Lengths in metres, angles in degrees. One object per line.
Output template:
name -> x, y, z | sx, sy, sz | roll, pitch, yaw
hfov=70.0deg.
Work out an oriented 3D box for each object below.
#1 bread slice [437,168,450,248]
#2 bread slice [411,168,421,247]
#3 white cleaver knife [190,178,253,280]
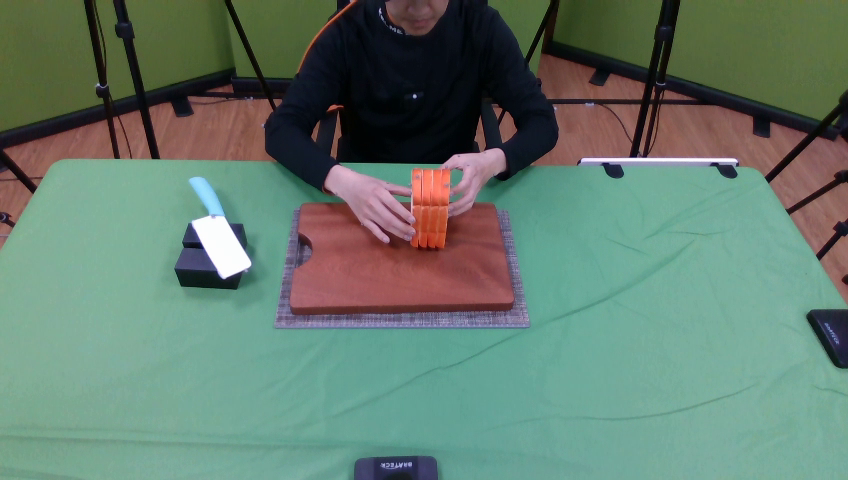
bread slice -> 0.037, -0.064, 1.125 | 0.018, 0.135, 0.106 | 3, 49, 0
bread slice -> -0.014, -0.069, 1.125 | 0.019, 0.132, 0.104 | -1, 44, -1
white cleaver knife -> -0.396, -0.030, 1.137 | 0.066, 0.021, 0.284 | -21, 49, -23
